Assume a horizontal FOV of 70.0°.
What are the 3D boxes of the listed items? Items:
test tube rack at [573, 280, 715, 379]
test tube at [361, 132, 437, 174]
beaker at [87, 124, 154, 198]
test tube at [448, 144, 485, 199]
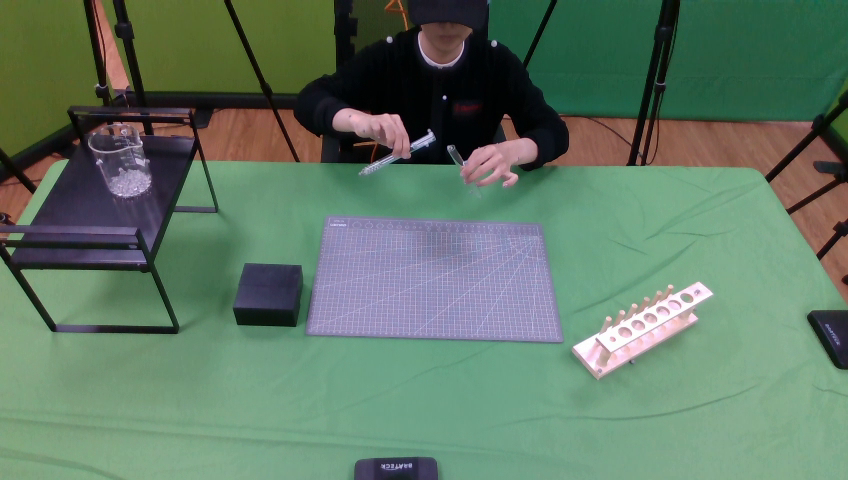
[{"bbox_3d":[0.378,0.140,1.038,0.242,0.085,0.066,-22,51,-23],"label":"test tube rack"},{"bbox_3d":[-0.046,-0.155,1.087,0.150,0.017,0.017,-25,47,10],"label":"test tube"},{"bbox_3d":[-0.482,-0.124,0.978,0.084,0.101,0.073,9,46,4],"label":"beaker"},{"bbox_3d":[0.082,-0.127,1.143,0.017,0.151,0.017,-17,48,20],"label":"test tube"}]
